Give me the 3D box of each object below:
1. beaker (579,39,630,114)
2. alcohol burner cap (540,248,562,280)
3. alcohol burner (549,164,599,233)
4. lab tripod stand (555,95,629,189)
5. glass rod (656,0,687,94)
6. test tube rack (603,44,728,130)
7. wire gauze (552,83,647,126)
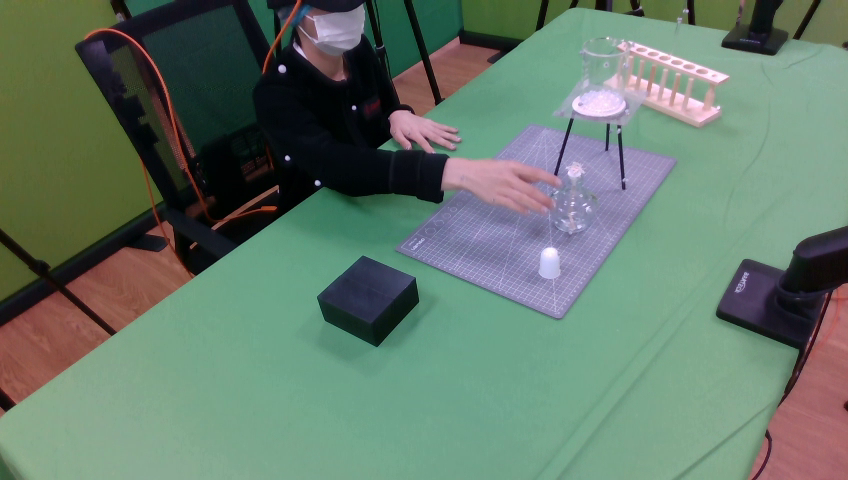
[{"bbox_3d":[0.289,-0.263,0.975,0.073,0.101,0.084,17,45,27],"label":"beaker"},{"bbox_3d":[0.187,0.032,0.888,0.034,0.048,0.033,-4,40,4],"label":"alcohol burner cap"},{"bbox_3d":[0.236,-0.069,0.946,0.078,0.119,0.077,-3,41,3],"label":"alcohol burner"},{"bbox_3d":[0.300,-0.174,1.045,0.148,0.132,0.147,-5,38,5],"label":"lab tripod stand"},{"bbox_3d":[0.491,-0.381,1.199,0.008,0.200,0.008,1,41,0],"label":"glass rod"},{"bbox_3d":[0.480,-0.316,1.227,0.067,0.085,0.240,-28,44,-22],"label":"test tube rack"},{"bbox_3d":[0.293,-0.224,1.004,0.120,0.011,0.125,19,43,26],"label":"wire gauze"}]
